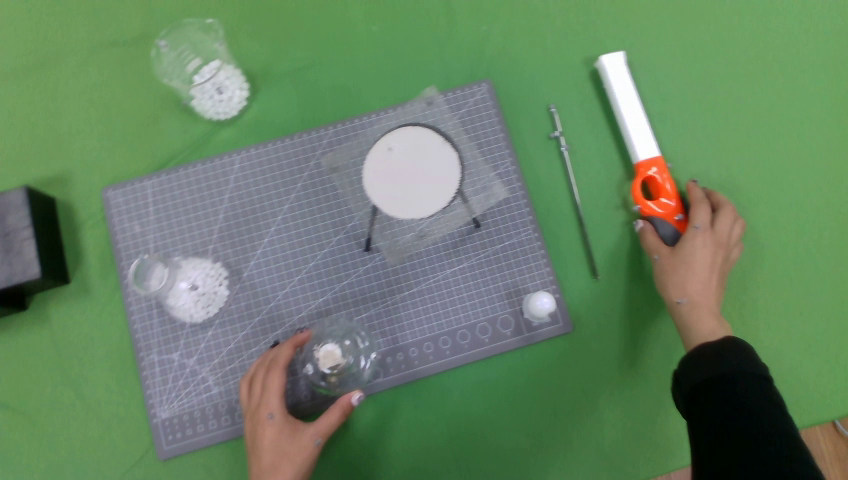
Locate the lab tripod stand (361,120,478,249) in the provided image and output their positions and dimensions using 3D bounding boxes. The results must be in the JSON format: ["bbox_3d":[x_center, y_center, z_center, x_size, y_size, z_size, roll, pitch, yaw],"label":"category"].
[{"bbox_3d":[-0.012,-0.049,0.601,0.148,0.132,0.148,0,82,0],"label":"lab tripod stand"}]

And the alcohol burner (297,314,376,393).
[{"bbox_3d":[-0.086,0.109,0.584,0.078,0.119,0.077,0,79,-1],"label":"alcohol burner"}]

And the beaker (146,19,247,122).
[{"bbox_3d":[-0.234,-0.176,0.644,0.074,0.100,0.084,32,81,5],"label":"beaker"}]

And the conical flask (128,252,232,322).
[{"bbox_3d":[-0.242,0.040,0.592,0.075,0.122,0.075,0,80,0],"label":"conical flask"}]

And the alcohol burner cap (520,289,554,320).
[{"bbox_3d":[0.119,0.065,0.627,0.034,0.048,0.033,0,80,-1],"label":"alcohol burner cap"}]

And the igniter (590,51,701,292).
[{"bbox_3d":[0.242,-0.078,0.662,0.057,0.025,0.275,-15,80,-14],"label":"igniter"}]

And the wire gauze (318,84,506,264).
[{"bbox_3d":[-0.012,-0.059,0.534,0.125,0.011,0.121,-33,82,-5],"label":"wire gauze"}]

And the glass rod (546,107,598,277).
[{"bbox_3d":[0.162,-0.055,0.668,0.008,0.008,0.199,-12,80,-2],"label":"glass rod"}]
